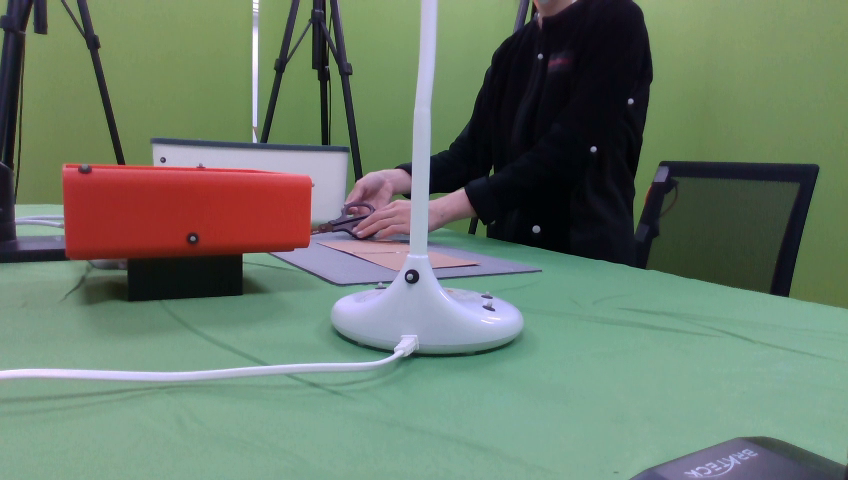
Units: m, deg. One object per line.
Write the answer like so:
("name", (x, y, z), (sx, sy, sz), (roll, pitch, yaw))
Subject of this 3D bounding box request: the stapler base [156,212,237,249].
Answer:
("stapler base", (-0.227, -0.017, 0.624), (0.041, 0.024, 0.130), (18, 10, -2))

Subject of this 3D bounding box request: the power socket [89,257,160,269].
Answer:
("power socket", (-0.409, 0.004, 0.793), (0.072, 0.032, 0.225), (-2, 8, -38))

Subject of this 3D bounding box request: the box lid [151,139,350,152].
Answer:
("box lid", (-0.352, -0.191, 1.255), (0.373, 0.015, 0.262), (0, 7, -18))

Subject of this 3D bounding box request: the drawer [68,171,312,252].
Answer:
("drawer", (-0.247, -0.036, 0.629), (0.213, 0.073, 0.193), (-3, 10, -30))

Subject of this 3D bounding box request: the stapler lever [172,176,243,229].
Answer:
("stapler lever", (-0.217, -0.041, 0.618), (0.027, 0.040, 0.118), (18, 11, -2))

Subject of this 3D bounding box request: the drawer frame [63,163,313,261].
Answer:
("drawer frame", (-0.248, -0.036, 0.626), (0.215, 0.082, 0.200), (-3, 9, -31))

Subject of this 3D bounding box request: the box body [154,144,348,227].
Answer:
("box body", (-0.357, -0.119, 1.264), (0.365, 0.160, 0.253), (0, 7, -18))

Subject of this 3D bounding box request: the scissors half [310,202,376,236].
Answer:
("scissors half", (-0.164, -0.030, 1.039), (0.176, 0.040, 0.013), (-23, -24, -26))

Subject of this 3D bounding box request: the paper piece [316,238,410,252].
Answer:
("paper piece", (-0.083, 0.008, 0.952), (0.136, 0.004, 0.134), (-2, 8, -31))

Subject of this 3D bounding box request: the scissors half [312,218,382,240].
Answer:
("scissors half", (-0.157, -0.012, 1.031), (0.176, 0.040, 0.013), (-6, -25, -18))

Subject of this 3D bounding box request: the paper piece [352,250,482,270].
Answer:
("paper piece", (-0.013, 0.026, 0.842), (0.139, 0.008, 0.135), (-1, 11, -32))

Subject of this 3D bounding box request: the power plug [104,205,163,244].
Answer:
("power plug", (-0.390, -0.021, 0.815), (0.073, 0.052, 0.035), (-1, 7, -27))

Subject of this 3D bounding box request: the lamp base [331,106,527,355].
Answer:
("lamp base", (0.006, -0.012, 0.478), (0.161, 0.180, 0.179), (2, 10, 2))
